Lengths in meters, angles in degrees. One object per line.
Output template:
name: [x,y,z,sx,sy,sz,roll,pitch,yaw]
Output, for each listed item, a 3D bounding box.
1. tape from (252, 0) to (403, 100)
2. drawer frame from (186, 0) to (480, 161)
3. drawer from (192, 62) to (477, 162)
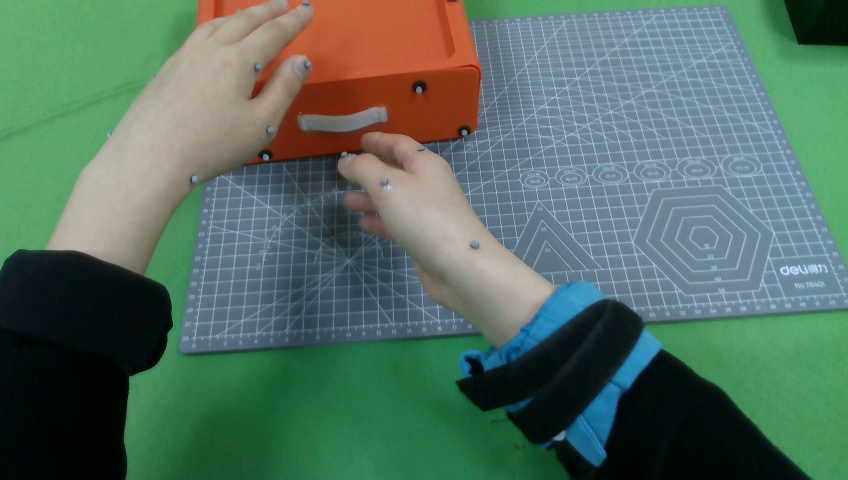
tape: [-0.075,-0.173,0.494,0.117,0.053,0.116,0,60,1]
drawer frame: [-0.073,-0.176,0.486,0.202,0.083,0.211,-8,59,-3]
drawer: [-0.072,-0.173,0.485,0.194,0.074,0.209,-8,59,-2]
